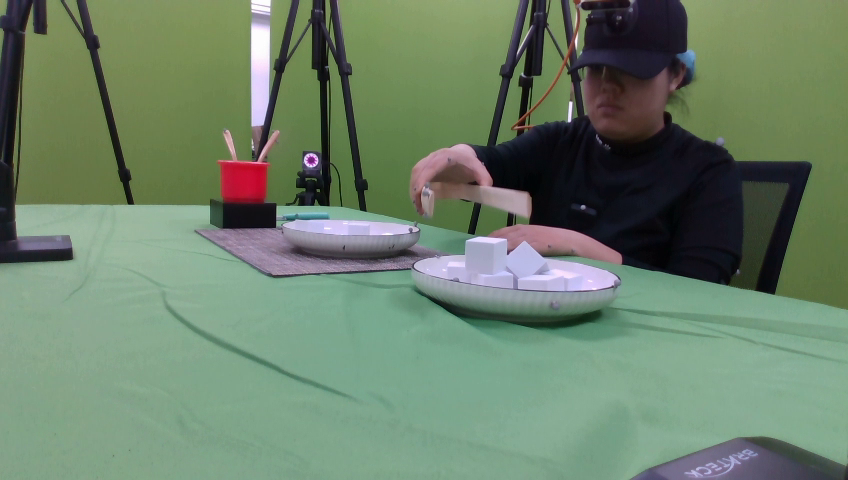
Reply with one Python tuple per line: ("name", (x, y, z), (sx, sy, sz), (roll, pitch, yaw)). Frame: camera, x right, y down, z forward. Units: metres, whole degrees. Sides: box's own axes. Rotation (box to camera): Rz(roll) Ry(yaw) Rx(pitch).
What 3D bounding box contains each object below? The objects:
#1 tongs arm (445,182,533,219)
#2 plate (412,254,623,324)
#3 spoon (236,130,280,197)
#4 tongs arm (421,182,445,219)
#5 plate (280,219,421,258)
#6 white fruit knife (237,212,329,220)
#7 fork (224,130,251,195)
("tongs arm", (0.074, -0.056, 0.779), (0.028, 0.028, 0.386), (-6, 8, -8))
("plate", (0.090, 0.047, 0.609), (0.209, 0.038, 0.209), (2, 7, 0))
("spoon", (-0.321, -0.153, 1.192), (0.041, 0.193, 0.022), (0, -37, 19))
("tongs arm", (0.019, -0.056, 0.775), (0.051, 0.026, 0.384), (-2, 7, -3))
("plate", (-0.108, -0.002, 0.901), (0.208, 0.039, 0.207), (3, 7, 0))
("white fruit knife", (-0.304, -0.050, 1.328), (0.208, 0.016, 0.027), (-3, -19, -29))
("fork", (-0.372, -0.155, 1.193), (0.028, 0.018, 0.206), (-17, 54, -13))
